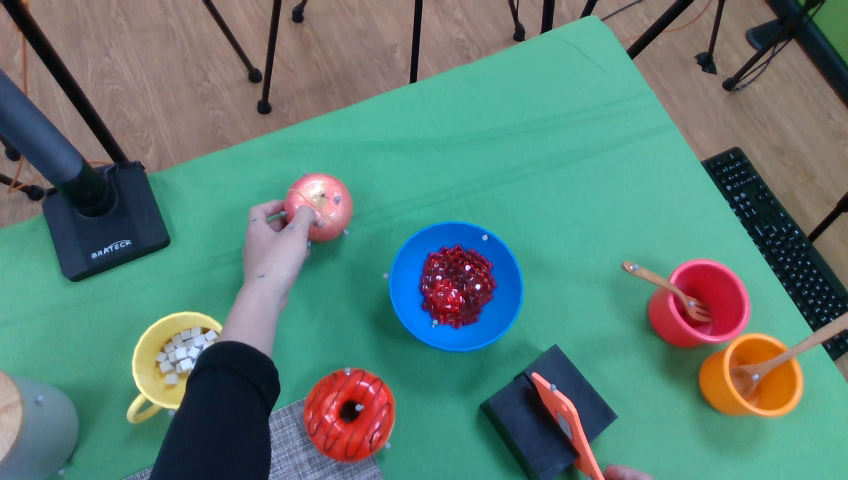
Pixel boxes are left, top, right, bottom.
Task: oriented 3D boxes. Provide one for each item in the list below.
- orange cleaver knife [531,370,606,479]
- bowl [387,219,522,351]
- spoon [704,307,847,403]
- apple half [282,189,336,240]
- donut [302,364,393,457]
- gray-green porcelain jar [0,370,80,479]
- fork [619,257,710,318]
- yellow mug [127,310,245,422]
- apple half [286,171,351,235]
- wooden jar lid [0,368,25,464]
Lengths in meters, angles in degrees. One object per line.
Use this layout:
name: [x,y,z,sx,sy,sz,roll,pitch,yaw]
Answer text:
orange cleaver knife: [0.169,0.230,0.646,0.012,0.077,0.212,-32,105,-14]
bowl: [0.031,0.059,0.697,0.151,0.077,0.150,2,70,-5]
spoon: [0.400,0.124,0.673,0.022,0.194,0.041,-6,58,-56]
apple half: [-0.142,-0.021,0.712,0.081,0.081,0.032,36,69,8]
donut: [-0.082,0.183,0.655,0.099,0.048,0.098,2,70,-6]
gray-green porcelain jar: [-0.407,0.182,0.583,0.106,0.127,0.105,2,69,-5]
fork: [0.277,0.055,0.687,0.209,0.018,0.028,26,61,-41]
yellow mug: [-0.260,0.142,0.645,0.099,0.064,0.130,40,72,10]
apple half: [-0.118,-0.049,0.725,0.080,0.075,0.053,36,68,8]
wooden jar lid: [-0.402,0.160,0.525,0.108,0.021,0.107,2,68,-3]
